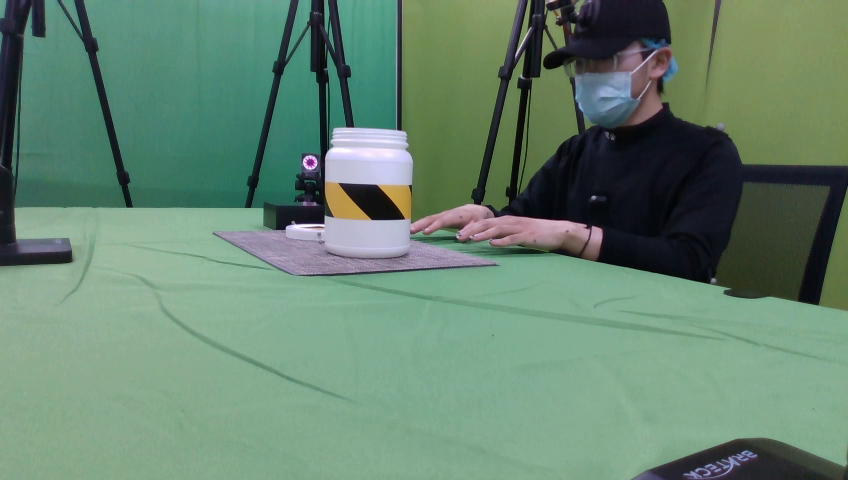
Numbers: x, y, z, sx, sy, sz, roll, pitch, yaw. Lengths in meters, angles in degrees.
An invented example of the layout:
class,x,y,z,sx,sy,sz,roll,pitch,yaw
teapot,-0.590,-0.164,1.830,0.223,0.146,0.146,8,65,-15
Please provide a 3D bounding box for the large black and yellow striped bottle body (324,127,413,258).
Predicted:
class,x,y,z,sx,sy,sz,roll,pitch,yaw
large black and yellow striped bottle body,-0.083,-0.073,0.899,0.131,0.184,0.130,2,7,0

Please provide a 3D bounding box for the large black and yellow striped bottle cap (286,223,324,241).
class,x,y,z,sx,sy,sz,roll,pitch,yaw
large black and yellow striped bottle cap,-0.187,-0.015,1.077,0.115,0.019,0.115,2,9,0
